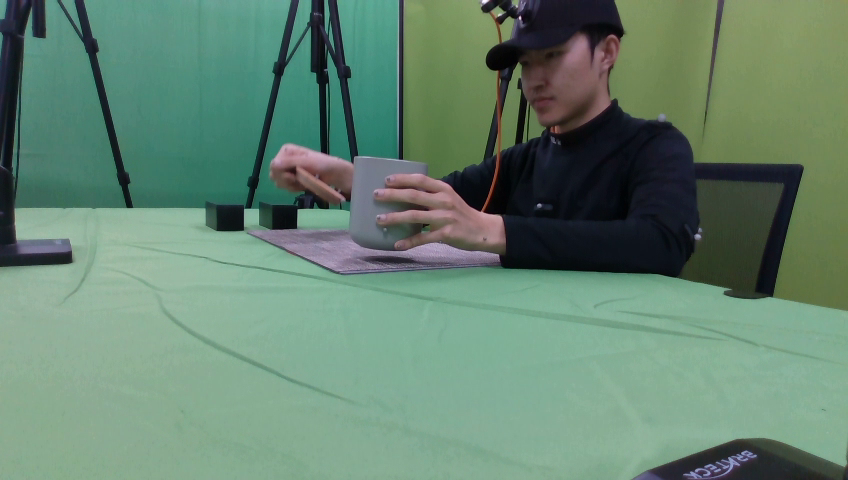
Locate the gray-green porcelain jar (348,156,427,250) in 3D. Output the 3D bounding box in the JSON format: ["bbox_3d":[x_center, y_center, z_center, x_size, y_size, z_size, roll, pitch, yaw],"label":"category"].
[{"bbox_3d":[-0.053,-0.053,0.859,0.106,0.126,0.106,4,6,0],"label":"gray-green porcelain jar"}]

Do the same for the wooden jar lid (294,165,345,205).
[{"bbox_3d":[-0.192,-0.098,1.100,0.108,0.020,0.108,37,2,-1],"label":"wooden jar lid"}]
